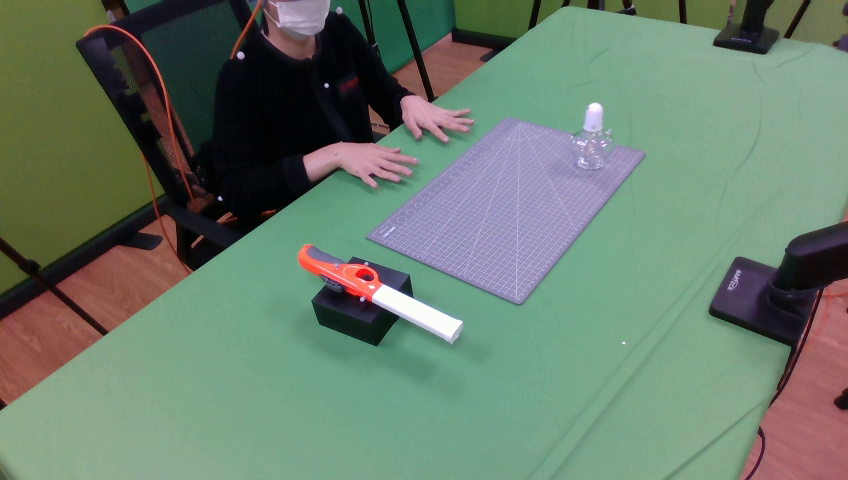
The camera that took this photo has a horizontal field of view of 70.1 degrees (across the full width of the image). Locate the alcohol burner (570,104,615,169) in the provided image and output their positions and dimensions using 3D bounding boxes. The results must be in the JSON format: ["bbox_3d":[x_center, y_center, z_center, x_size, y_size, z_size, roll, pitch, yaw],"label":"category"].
[{"bbox_3d":[0.299,-0.187,1.071,0.078,0.119,0.077,-6,41,6],"label":"alcohol burner"}]

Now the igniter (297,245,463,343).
[{"bbox_3d":[-0.070,0.068,0.827,0.274,0.025,0.057,23,49,25],"label":"igniter"}]

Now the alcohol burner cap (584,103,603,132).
[{"bbox_3d":[0.295,-0.213,1.047,0.034,0.048,0.033,-4,38,4],"label":"alcohol burner cap"}]
